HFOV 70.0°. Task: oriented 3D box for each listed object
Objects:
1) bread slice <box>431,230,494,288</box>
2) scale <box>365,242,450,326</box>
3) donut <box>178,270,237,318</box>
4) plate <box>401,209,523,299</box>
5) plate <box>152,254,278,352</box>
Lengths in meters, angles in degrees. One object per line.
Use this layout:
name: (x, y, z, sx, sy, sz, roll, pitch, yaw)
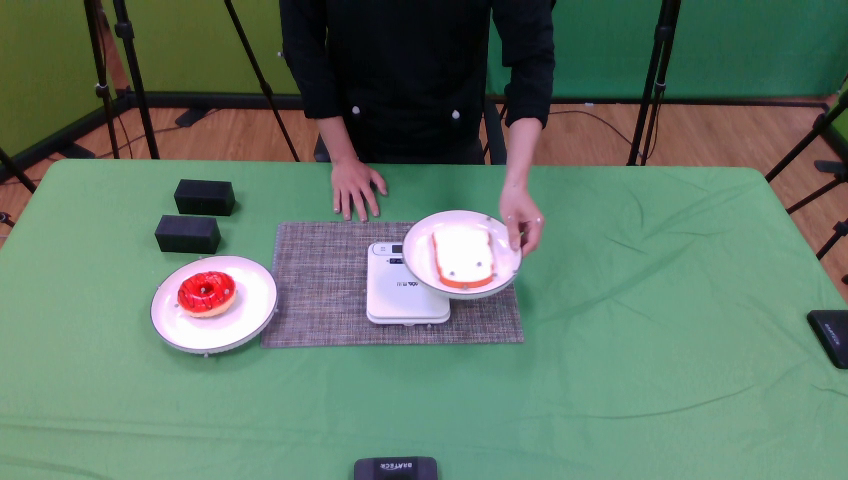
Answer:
bread slice: (0.070, 0.030, 1.046, 0.105, 0.019, 0.130, -3, 43, -4)
scale: (-0.032, 0.071, 1.113, 0.149, 0.032, 0.199, 0, 46, -4)
donut: (-0.375, 0.092, 1.053, 0.099, 0.048, 0.098, 1, 42, 0)
plate: (0.064, 0.028, 1.044, 0.209, 0.038, 0.208, 2, 44, -1)
plate: (-0.357, 0.111, 1.052, 0.208, 0.039, 0.206, 2, 46, -2)
